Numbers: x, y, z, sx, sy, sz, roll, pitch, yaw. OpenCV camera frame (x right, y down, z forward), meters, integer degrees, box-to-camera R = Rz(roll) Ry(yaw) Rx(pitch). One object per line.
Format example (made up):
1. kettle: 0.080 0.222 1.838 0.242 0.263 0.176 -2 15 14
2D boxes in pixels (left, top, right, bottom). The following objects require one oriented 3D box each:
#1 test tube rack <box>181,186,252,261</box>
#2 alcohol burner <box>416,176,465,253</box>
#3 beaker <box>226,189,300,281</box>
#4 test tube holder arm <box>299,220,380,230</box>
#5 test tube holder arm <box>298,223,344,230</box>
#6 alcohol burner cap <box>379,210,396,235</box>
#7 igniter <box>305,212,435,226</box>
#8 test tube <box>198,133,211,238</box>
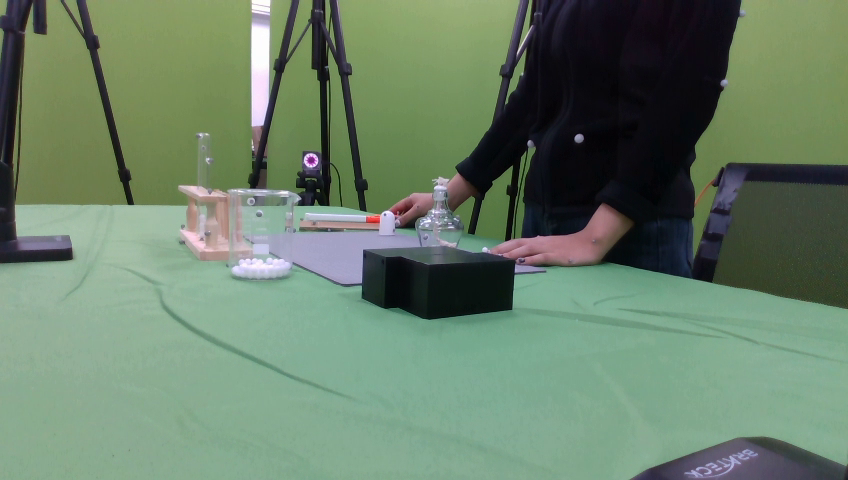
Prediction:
1. test tube rack: -0.312 -0.031 0.893 0.067 0.085 0.241 -1 8 -27
2. alcohol burner: 0.025 -0.040 0.935 0.078 0.119 0.078 1 6 0
3. beaker: -0.184 -0.007 0.694 0.084 0.100 0.073 -1 8 -29
4. test tube holder arm: -0.153 -0.028 1.174 0.179 0.015 0.013 1 -27 -21
5. test tube holder arm: -0.197 -0.026 1.163 0.088 0.015 0.010 0 -27 -20
6. alcohol burner cap: -0.067 -0.033 1.129 0.034 0.048 0.034 1 7 0
7. igniter: -0.114 -0.046 1.296 0.277 0.025 0.057 1 -2 -11
8. test tube: -0.316 -0.078 0.871 0.017 0.150 0.017 2 3 0
